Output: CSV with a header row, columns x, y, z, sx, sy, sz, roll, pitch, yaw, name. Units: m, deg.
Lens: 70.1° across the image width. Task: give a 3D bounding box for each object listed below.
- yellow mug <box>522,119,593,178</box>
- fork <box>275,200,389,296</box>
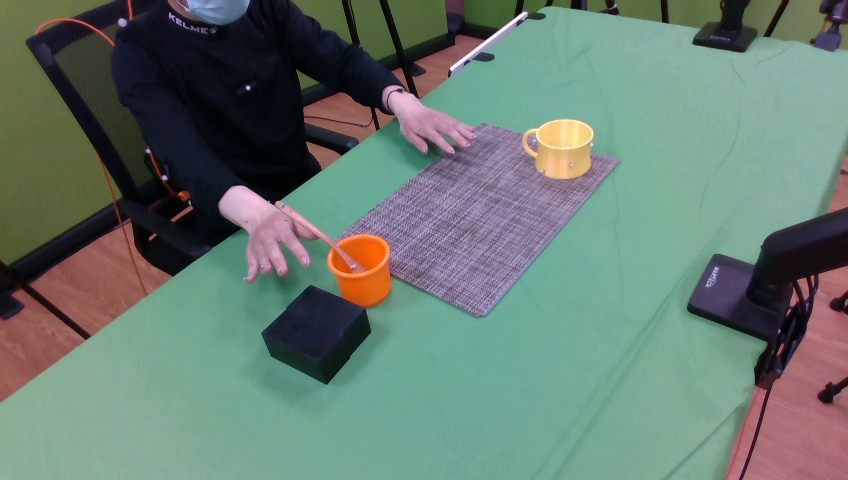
x,y,z,sx,sy,sz,roll,pitch,yaw,name
0.237,-0.170,1.092,0.130,0.064,0.100,17,47,27,yellow mug
-0.133,0.011,0.876,0.208,0.018,0.028,42,57,-11,fork
